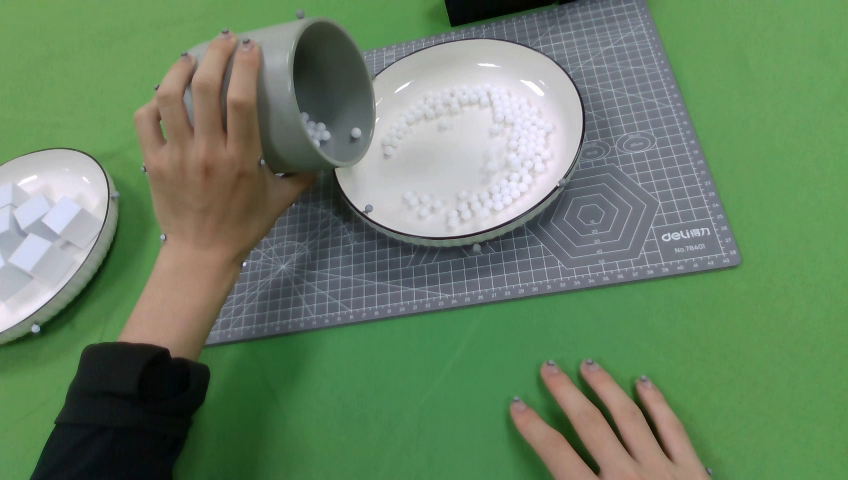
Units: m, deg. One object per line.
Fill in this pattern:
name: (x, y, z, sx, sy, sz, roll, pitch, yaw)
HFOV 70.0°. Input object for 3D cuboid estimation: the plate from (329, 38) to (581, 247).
plate: (0.024, -0.081, 0.500, 0.209, 0.038, 0.207, -7, 58, 12)

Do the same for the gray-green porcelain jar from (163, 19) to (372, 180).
gray-green porcelain jar: (-0.120, -0.101, 0.459, 0.126, 0.107, 0.105, -2, 59, 26)

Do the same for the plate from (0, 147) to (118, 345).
plate: (-0.373, 0.007, 0.559, 0.207, 0.039, 0.205, -7, 58, 11)
